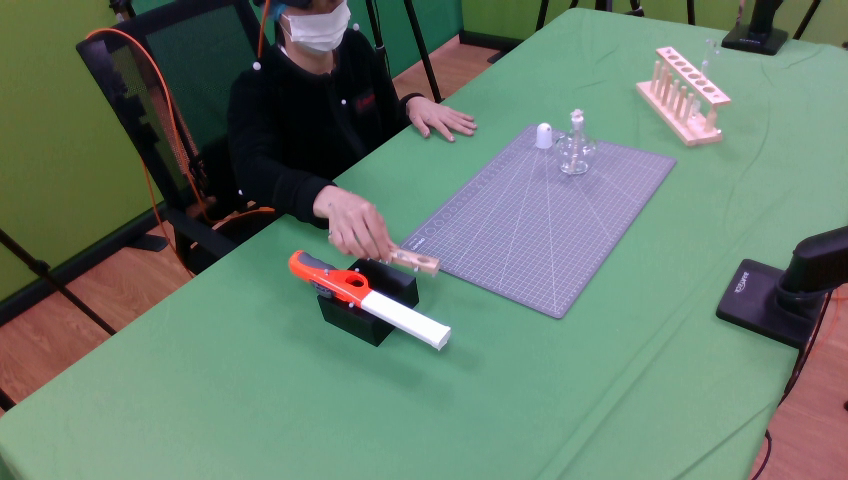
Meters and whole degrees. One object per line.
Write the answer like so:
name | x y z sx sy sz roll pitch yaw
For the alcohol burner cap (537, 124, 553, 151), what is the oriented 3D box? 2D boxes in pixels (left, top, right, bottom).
alcohol burner cap | 0.232 -0.199 1.158 0.034 0.048 0.033 -5 40 5

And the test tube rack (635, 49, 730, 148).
test tube rack | 0.497 -0.283 1.185 0.067 0.085 0.240 -10 40 -2

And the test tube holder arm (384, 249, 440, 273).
test tube holder arm | -0.018 0.029 0.831 0.087 0.015 0.010 13 42 23

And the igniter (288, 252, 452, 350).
igniter | -0.084 0.077 0.821 0.274 0.025 0.057 23 48 27

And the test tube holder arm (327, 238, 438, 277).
test tube holder arm | -0.061 0.023 0.845 0.177 0.015 0.013 13 42 23

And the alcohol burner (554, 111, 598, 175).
alcohol burner | 0.270 -0.175 1.066 0.078 0.119 0.077 -4 42 4

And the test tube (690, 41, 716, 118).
test tube | 0.514 -0.293 1.117 0.017 0.151 0.017 -3 42 3
